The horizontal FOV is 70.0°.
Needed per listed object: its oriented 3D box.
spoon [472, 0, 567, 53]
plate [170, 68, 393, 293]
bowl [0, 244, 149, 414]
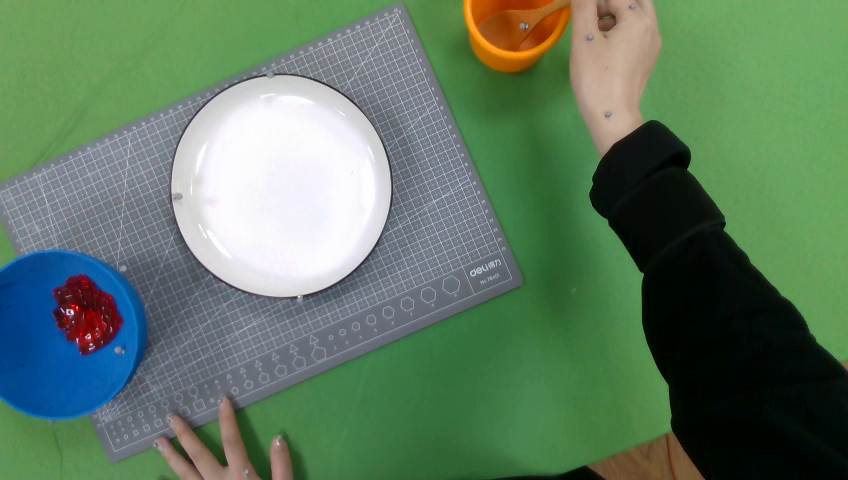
[{"bbox_3d":[0.117,-0.204,0.513,0.022,0.193,0.041,-12,92,-42],"label":"spoon"},{"bbox_3d":[-0.132,-0.055,0.576,0.209,0.038,0.209,0,92,2],"label":"plate"},{"bbox_3d":[-0.320,0.077,0.564,0.151,0.077,0.151,0,92,1],"label":"bowl"}]
